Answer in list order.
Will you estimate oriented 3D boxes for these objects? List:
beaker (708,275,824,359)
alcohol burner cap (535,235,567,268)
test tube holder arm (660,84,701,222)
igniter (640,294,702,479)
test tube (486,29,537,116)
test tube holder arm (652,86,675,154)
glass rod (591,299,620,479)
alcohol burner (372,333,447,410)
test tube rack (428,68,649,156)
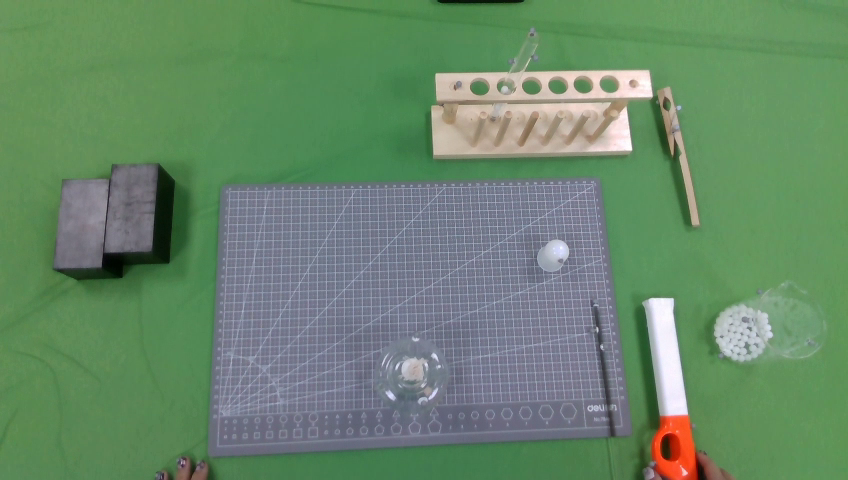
[{"bbox_3d":[0.362,0.087,0.653,0.074,0.100,0.083,11,74,0],"label":"beaker"},{"bbox_3d":[0.146,0.011,0.687,0.034,0.048,0.033,1,75,-3],"label":"alcohol burner cap"},{"bbox_3d":[0.313,-0.108,0.742,0.013,0.015,0.177,-18,74,29],"label":"test tube holder arm"},{"bbox_3d":[0.266,0.195,0.656,0.057,0.025,0.275,2,75,-13],"label":"igniter"},{"bbox_3d":[0.093,-0.178,0.664,0.017,0.151,0.017,3,71,-8],"label":"test tube"},{"bbox_3d":[0.301,-0.149,0.755,0.010,0.015,0.087,-17,75,29],"label":"test tube holder arm"},{"bbox_3d":[0.199,0.164,0.667,0.008,0.008,0.198,-2,75,-4],"label":"glass rod"},{"bbox_3d":[-0.014,0.130,0.609,0.078,0.119,0.077,1,73,-2],"label":"alcohol burner"},{"bbox_3d":[0.129,-0.149,0.709,0.242,0.085,0.066,-2,75,-4],"label":"test tube rack"}]
